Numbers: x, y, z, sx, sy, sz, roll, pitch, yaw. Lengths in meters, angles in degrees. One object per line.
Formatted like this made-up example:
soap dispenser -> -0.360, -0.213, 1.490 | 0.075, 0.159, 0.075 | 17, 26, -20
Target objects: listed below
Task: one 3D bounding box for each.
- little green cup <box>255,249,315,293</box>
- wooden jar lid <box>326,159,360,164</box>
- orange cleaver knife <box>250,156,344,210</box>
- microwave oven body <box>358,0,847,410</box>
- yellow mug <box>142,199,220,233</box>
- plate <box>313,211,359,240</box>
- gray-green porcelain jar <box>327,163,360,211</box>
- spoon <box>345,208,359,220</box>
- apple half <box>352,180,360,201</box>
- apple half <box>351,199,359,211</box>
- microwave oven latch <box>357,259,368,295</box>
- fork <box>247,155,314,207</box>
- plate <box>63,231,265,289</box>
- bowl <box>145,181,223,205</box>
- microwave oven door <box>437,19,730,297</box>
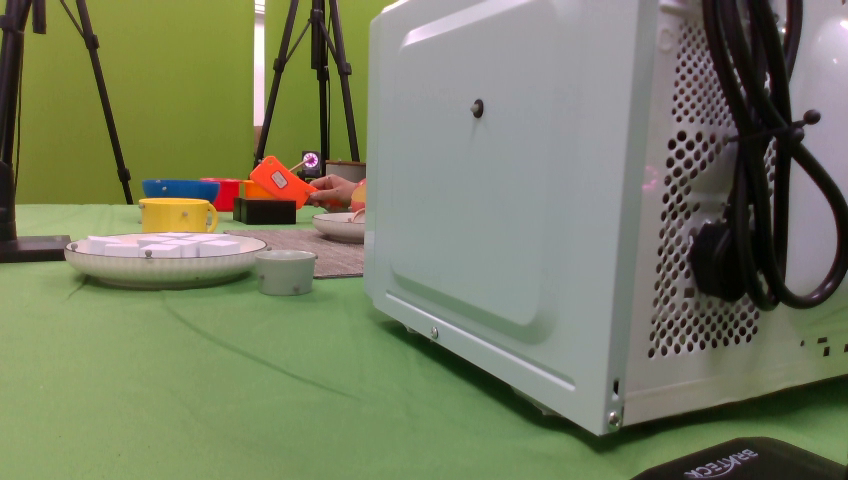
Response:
little green cup -> -0.144, 0.032, 0.627 | 0.061, 0.038, 0.061 | 2, 6, 0
wooden jar lid -> -0.185, -0.187, 1.481 | 0.108, 0.020, 0.108 | 4, 6, 0
orange cleaver knife -> -0.270, -0.107, 1.305 | 0.212, 0.077, 0.012 | 30, -7, -31
microwave oven body -> 0.210, -0.051, 0.471 | 0.444, 0.260, 0.324 | -1, 7, -28
yellow mug -> -0.373, -0.030, 0.948 | 0.099, 0.064, 0.131 | 6, 8, 29
plate -> -0.091, -0.026, 1.063 | 0.209, 0.038, 0.209 | 2, 7, 0
gray-green porcelain jar -> -0.187, -0.125, 1.490 | 0.106, 0.126, 0.106 | 2, 8, 0
spoon -> -0.124, -0.047, 1.117 | 0.041, 0.021, 0.194 | 4, 19, 16
apple half -> -0.091, -0.099, 1.089 | 0.081, 0.032, 0.081 | -10, -30, -6
apple half -> -0.105, -0.065, 1.260 | 0.081, 0.074, 0.053 | 2, 9, -34
microwave oven latch -> -0.019, 0.031, 0.529 | 0.079, 0.029, 0.030 | -1, 7, -26
fork -> -0.360, -0.147, 1.522 | 0.207, 0.018, 0.028 | -43, 7, -7
plate -> -0.288, 0.021, 0.687 | 0.208, 0.039, 0.207 | 2, 8, 0
bowl -> -0.499, -0.081, 1.261 | 0.151, 0.077, 0.151 | 2, 8, 0
microwave oven door -> 0.181, -0.076, 0.618 | 0.358, 0.243, 0.039 | -2, 9, -28
